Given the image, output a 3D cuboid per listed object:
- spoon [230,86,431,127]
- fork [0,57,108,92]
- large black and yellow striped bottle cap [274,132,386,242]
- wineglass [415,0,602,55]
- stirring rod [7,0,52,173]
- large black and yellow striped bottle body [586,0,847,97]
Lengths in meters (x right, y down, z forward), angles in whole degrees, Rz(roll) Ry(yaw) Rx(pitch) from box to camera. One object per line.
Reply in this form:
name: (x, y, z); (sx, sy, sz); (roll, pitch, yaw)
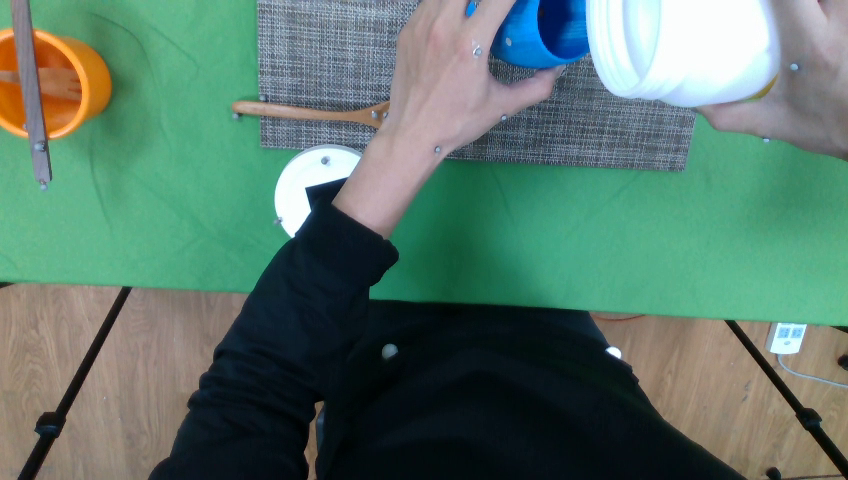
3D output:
spoon: (-0.090, -0.134, 0.588); (0.194, 0.021, 0.042); (1, 131, -7)
fork: (-0.366, -0.146, 0.489); (0.208, 0.018, 0.028); (-4, 125, -52)
large black and yellow striped bottle cap: (-0.096, -0.053, 0.625); (0.115, 0.018, 0.116); (-3, 114, -6)
wineglass: (0.059, -0.185, 0.484); (0.074, 0.170, 0.074); (-9, 109, -25)
stirring rod: (-0.324, -0.141, 0.493); (0.014, 0.006, 0.177); (2, 110, -7)
large black and yellow striped bottle body: (0.209, -0.163, 0.384); (0.184, 0.129, 0.131); (-9, 111, -6)
